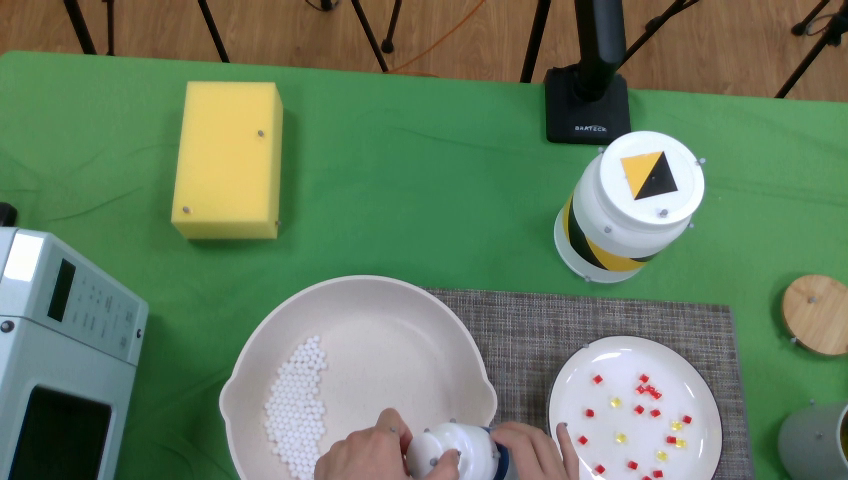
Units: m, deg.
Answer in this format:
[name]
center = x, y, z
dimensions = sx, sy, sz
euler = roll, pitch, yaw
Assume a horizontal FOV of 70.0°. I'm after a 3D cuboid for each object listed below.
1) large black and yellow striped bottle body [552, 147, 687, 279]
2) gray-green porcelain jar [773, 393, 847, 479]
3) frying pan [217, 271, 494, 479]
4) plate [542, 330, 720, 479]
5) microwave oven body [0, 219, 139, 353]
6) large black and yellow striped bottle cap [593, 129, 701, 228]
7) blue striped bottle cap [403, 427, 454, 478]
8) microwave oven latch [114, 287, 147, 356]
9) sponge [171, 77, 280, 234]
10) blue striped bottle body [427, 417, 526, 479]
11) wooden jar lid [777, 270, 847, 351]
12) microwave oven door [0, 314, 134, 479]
[large black and yellow striped bottle body]
center = 0.240, -0.038, 0.743
dimensions = 0.131, 0.185, 0.130
euler = 1, 69, -2
[gray-green porcelain jar]
center = 0.473, 0.231, 0.686
dimensions = 0.106, 0.127, 0.105
euler = 1, 69, -2
[frying pan]
center = -0.078, 0.273, 0.650
dimensions = 0.307, 0.103, 0.483
euler = 2, 61, 0
[plate]
center = 0.242, 0.212, 0.724
dimensions = 0.209, 0.038, 0.207
euler = 1, 70, -2
[microwave oven body]
center = -0.506, 0.217, 0.563
dimensions = 0.326, 0.261, 0.438
euler = 4, 70, -2
[large black and yellow striped bottle cap]
center = 0.243, -0.069, 0.662
dimensions = 0.115, 0.019, 0.114
euler = 1, 68, -2
[blue striped bottle cap]
center = 0.003, 0.189, 0.538
dimensions = 0.044, 0.021, 0.044
euler = -10, 72, 35
[microwave oven latch]
center = -0.352, 0.096, 0.719
dimensions = 0.030, 0.029, 0.078
euler = 7, 70, -1
[sponge]
center = -0.259, -0.113, 0.808
dimensions = 0.118, 0.061, 0.205
euler = -1, 71, -4
[blue striped bottle body]
center = 0.041, 0.204, 0.581
dimensions = 0.063, 0.122, 0.062
euler = -16, 64, 37
[wooden jar lid]
center = 0.515, 0.093, 0.796
dimensions = 0.108, 0.021, 0.107
euler = 1, 71, -2
[microwave oven door]
center = -0.363, 0.265, 0.548
dimensions = 0.039, 0.245, 0.353
euler = 4, 69, -2
